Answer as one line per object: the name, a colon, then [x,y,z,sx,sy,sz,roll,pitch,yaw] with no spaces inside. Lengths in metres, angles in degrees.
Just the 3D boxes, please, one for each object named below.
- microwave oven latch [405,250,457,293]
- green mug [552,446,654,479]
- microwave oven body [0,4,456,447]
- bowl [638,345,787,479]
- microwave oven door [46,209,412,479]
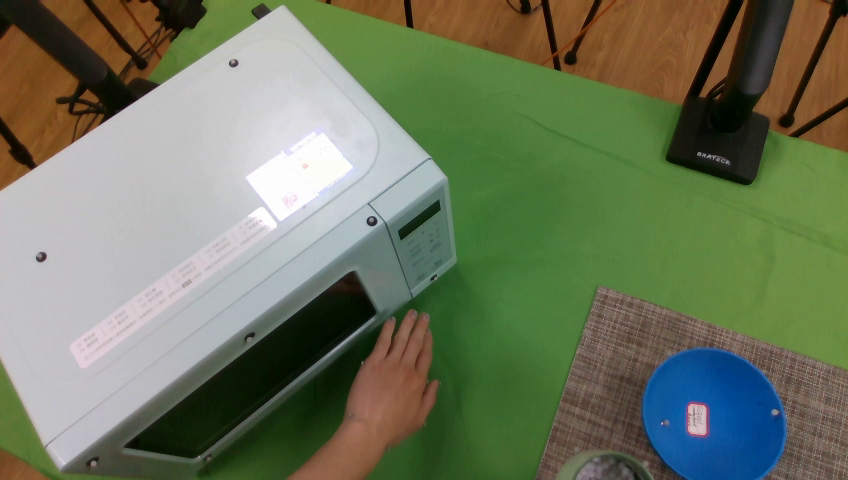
microwave oven latch: [0.007,0.034,0.791,0.079,0.030,0.030,-36,69,-9]
green mug: [0.184,0.255,0.577,0.092,0.106,0.124,-43,71,-12]
microwave oven body: [-0.232,0.001,0.720,0.441,0.262,0.323,-38,70,-10]
bowl: [0.313,0.201,0.687,0.151,0.077,0.150,-2,67,5]
microwave oven door: [-0.174,0.126,0.658,0.355,0.246,0.039,-38,68,-11]
